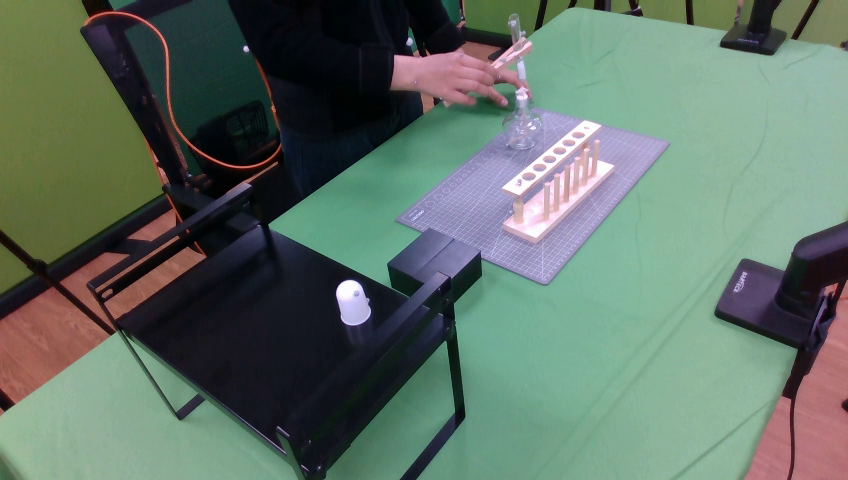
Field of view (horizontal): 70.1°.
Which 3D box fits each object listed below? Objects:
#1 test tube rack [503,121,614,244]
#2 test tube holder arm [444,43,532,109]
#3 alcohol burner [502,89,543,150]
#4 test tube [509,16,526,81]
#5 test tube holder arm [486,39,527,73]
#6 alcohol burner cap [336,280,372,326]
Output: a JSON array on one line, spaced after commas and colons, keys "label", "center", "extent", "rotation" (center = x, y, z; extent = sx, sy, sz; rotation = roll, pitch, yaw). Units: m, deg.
[{"label": "test tube rack", "center": [0.230, -0.102, 1.006], "extent": [0.066, 0.085, 0.243], "rotation": [26, 50, 35]}, {"label": "test tube holder arm", "center": [0.108, -0.278, 1.021], "extent": [0.178, 0.015, 0.013], "rotation": [-37, 57, -5]}, {"label": "alcohol burner", "center": [0.186, -0.233, 1.147], "extent": [0.078, 0.119, 0.077], "rotation": [-5, 42, 5]}, {"label": "test tube", "center": [0.160, -0.322, 1.028], "extent": [0.017, 0.151, 0.017], "rotation": [-6, 64, 13]}, {"label": "test tube holder arm", "center": [0.140, -0.309, 1.028], "extent": [0.088, 0.015, 0.010], "rotation": [-42, 58, -8]}, {"label": "alcohol burner cap", "center": [-0.073, 0.061, 0.619], "extent": [0.034, 0.048, 0.033], "rotation": [-4, 41, 4]}]
